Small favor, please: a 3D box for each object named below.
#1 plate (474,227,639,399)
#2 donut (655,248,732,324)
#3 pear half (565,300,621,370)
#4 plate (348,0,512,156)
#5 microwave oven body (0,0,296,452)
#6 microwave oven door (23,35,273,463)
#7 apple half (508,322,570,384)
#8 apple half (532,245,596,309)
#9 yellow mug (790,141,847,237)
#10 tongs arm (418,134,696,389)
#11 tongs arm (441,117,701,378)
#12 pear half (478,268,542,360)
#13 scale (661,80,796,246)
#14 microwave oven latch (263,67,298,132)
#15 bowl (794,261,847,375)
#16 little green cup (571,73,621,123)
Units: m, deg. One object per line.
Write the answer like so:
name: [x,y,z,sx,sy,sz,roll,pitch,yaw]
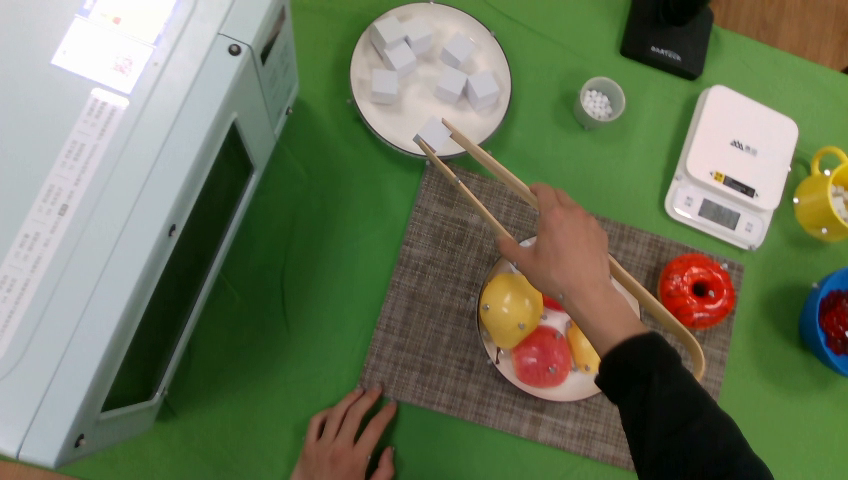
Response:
plate: [0.161,0.089,0.748,0.209,0.038,0.208,2,81,-9]
donut: [0.345,0.059,0.780,0.099,0.048,0.098,1,80,-6]
pear half: [0.210,0.116,0.745,0.070,0.031,0.087,17,76,8]
plate: [0.008,-0.204,0.774,0.208,0.039,0.207,2,81,-9]
microwave oven body: [-0.359,-0.077,0.576,0.327,0.260,0.440,21,79,-6]
microwave oven door: [-0.237,0.013,0.576,0.039,0.244,0.354,21,78,-5]
apple half: [0.142,0.136,0.729,0.081,0.033,0.081,3,73,-9]
apple half: [0.173,0.044,0.740,0.075,0.053,0.080,6,83,-5]
yellow mug: [0.564,-0.073,0.829,0.100,0.064,0.130,-14,83,-10]
tongs arm: [0.125,0.008,0.642,0.051,0.027,0.382,-35,69,-11]
tongs arm: [0.144,-0.006,0.647,0.028,0.028,0.384,-38,70,-16]
pear half: [0.102,0.090,0.717,0.077,0.056,0.109,13,83,-15]
scale: [0.418,-0.106,0.828,0.149,0.031,0.200,23,79,-5]
microwave oven latch: [-0.176,-0.171,0.720,0.030,0.029,0.079,23,79,-5]
bowl: [0.546,0.104,0.792,0.152,0.077,0.151,1,81,-8]
little green cup: [0.226,-0.187,0.806,0.062,0.038,0.061,2,80,-8]
